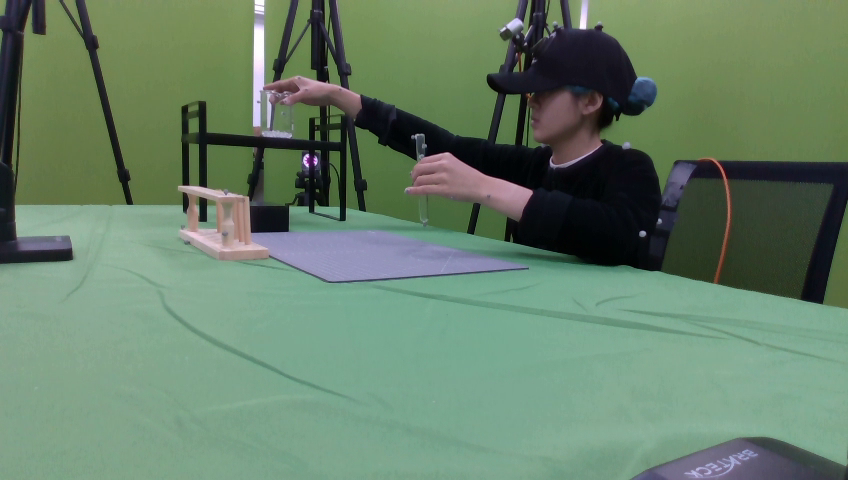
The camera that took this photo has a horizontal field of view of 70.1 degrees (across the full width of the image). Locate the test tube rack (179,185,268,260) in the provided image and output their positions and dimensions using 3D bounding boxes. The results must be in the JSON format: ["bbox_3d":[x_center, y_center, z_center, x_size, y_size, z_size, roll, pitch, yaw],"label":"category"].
[{"bbox_3d":[-0.303,-0.031,0.898,0.067,0.085,0.241,-2,9,-33],"label":"test tube rack"}]

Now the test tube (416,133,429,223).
[{"bbox_3d":[-0.002,-0.104,1.018,0.017,0.150,0.017,-3,8,1],"label":"test tube"}]

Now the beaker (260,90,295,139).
[{"bbox_3d":[-0.321,-0.273,1.325,0.074,0.100,0.083,0,8,-23],"label":"beaker"}]
